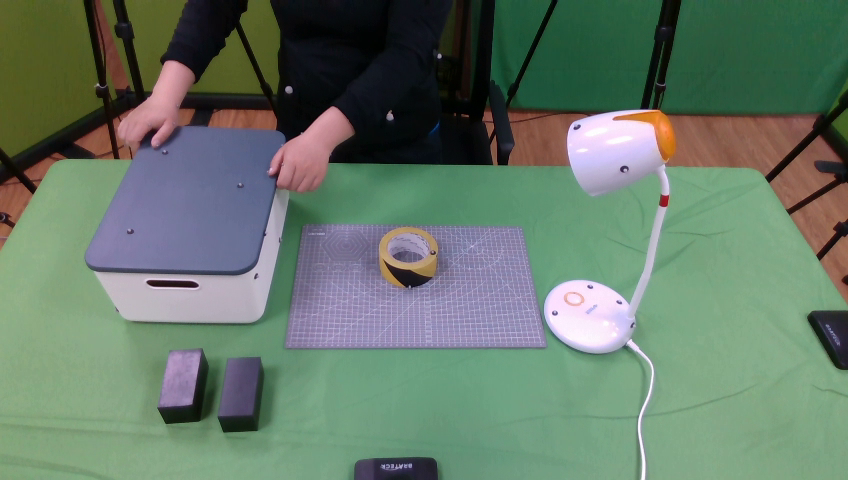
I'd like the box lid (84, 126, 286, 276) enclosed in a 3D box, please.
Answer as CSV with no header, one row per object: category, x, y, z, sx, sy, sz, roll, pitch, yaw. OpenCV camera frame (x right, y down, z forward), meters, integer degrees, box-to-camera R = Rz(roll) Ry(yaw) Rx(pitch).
box lid,-0.393,-0.081,1.046,0.263,0.015,0.369,2,46,-3

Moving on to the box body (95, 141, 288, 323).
box body,-0.396,-0.031,1.100,0.254,0.161,0.361,1,46,-3

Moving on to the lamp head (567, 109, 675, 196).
lamp head,0.272,-0.123,0.818,0.122,0.113,0.112,-9,35,37

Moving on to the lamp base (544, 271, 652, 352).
lamp base,0.310,0.086,1.029,0.178,0.181,0.160,32,52,21

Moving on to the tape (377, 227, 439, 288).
tape,-0.031,0.032,1.140,0.117,0.053,0.116,2,46,-2
